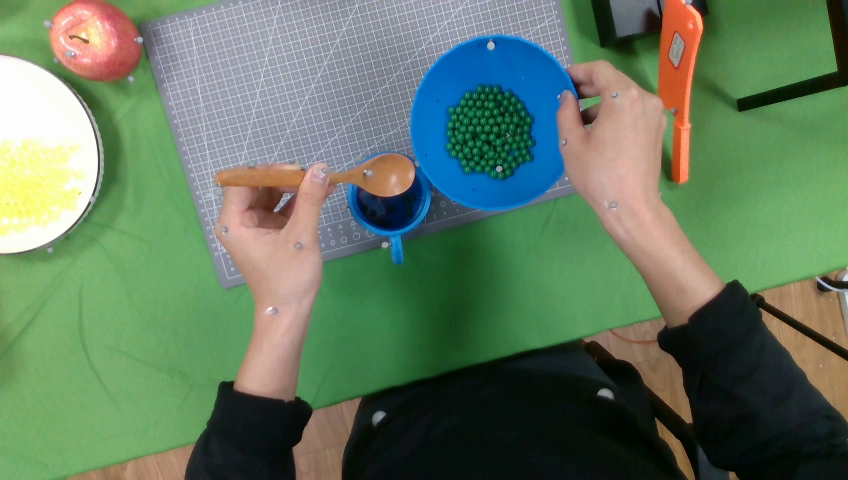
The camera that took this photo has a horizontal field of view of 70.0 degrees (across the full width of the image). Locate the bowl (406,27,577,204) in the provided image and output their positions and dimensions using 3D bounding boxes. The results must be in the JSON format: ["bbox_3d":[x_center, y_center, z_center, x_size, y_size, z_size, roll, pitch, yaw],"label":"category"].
[{"bbox_3d":[0.066,-0.112,0.560,0.151,0.077,0.152,3,101,14],"label":"bowl"}]

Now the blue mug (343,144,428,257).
[{"bbox_3d":[-0.038,-0.039,0.637,0.082,0.105,0.116,-8,96,-3],"label":"blue mug"}]

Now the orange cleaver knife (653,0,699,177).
[{"bbox_3d":[0.268,-0.169,0.656,0.012,0.076,0.213,-16,128,-3],"label":"orange cleaver knife"}]

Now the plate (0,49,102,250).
[{"bbox_3d":[-0.444,-0.094,0.639,0.209,0.038,0.209,0,97,-3],"label":"plate"}]

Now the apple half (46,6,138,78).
[{"bbox_3d":[-0.330,-0.195,0.619,0.081,0.074,0.053,-31,101,-4],"label":"apple half"}]

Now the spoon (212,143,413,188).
[{"bbox_3d":[-0.078,-0.057,0.483,0.021,0.194,0.042,28,114,32],"label":"spoon"}]

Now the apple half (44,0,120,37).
[{"bbox_3d":[-0.349,-0.229,0.613,0.081,0.081,0.033,-30,102,0],"label":"apple half"}]
